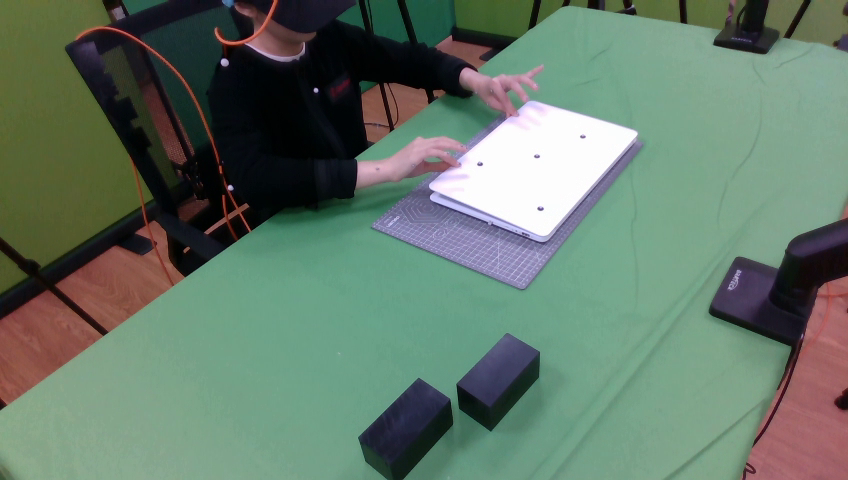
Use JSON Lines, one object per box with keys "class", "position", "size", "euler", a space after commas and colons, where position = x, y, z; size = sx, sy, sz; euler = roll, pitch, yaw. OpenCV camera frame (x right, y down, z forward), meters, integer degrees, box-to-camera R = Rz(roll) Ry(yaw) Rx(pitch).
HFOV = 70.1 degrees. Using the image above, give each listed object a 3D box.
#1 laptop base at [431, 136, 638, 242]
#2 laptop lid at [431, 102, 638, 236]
{"class": "laptop base", "position": [0.208, -0.128, 1.098], "size": [0.233, 0.023, 0.355], "euler": [20, 47, 33]}
{"class": "laptop lid", "position": [0.204, -0.145, 1.084], "size": [0.240, 0.013, 0.358], "euler": [26, 50, 30]}
